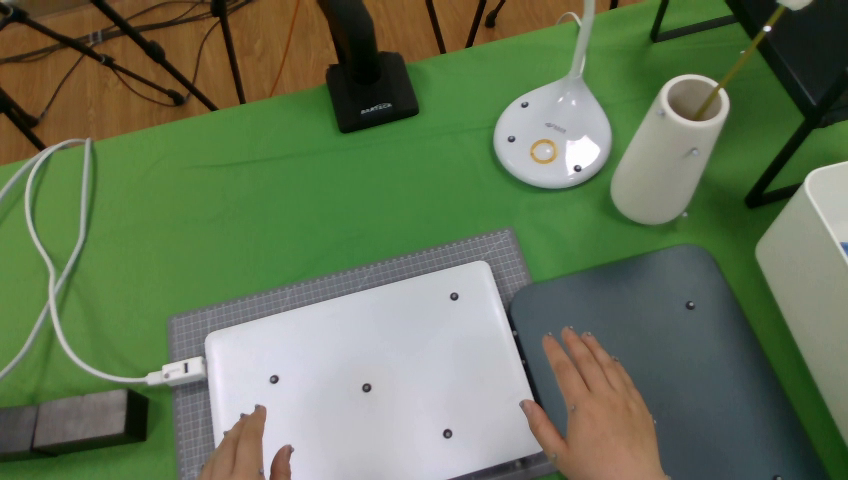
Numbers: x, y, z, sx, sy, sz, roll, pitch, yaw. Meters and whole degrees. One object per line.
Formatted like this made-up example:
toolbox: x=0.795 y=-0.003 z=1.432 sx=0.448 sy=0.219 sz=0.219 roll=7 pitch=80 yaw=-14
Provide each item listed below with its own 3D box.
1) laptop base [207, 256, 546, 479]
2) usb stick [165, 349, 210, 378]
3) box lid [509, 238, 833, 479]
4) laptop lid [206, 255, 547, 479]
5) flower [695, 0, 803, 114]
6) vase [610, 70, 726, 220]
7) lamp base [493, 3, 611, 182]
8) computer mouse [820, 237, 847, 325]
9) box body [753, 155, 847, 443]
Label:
laptop base: x=-0.063 y=0.164 z=0.698 sx=0.354 sy=0.023 sz=0.233 roll=-15 pitch=68 yaw=-4
usb stick: x=-0.268 y=0.143 z=0.707 sx=0.059 sy=0.027 sz=0.021 roll=-10 pitch=63 yaw=-8
box lid: x=0.268 y=0.180 z=0.674 sx=0.263 sy=0.015 sz=0.368 roll=-15 pitch=64 yaw=-5
laptop lid: x=-0.063 y=0.162 z=0.687 sx=0.357 sy=0.013 sz=0.239 roll=-13 pitch=66 yaw=-3
flower: x=0.295 y=-0.146 z=0.635 sx=0.038 sy=0.364 sz=0.043 roll=0 pitch=54 yaw=-15
vase: x=0.281 y=-0.105 z=0.708 sx=0.098 sy=0.201 sz=0.097 roll=-2 pitch=63 yaw=5
lamp base: x=0.174 y=-0.193 z=0.768 sx=0.160 sy=0.182 sz=0.178 roll=16 pitch=64 yaw=11
computer mouse: x=0.505 y=0.047 z=0.703 sx=0.062 sy=0.041 sz=0.116 roll=19 pitch=63 yaw=16
box body: x=0.545 y=0.090 z=0.617 sx=0.254 sy=0.161 sz=0.360 roll=-12 pitch=64 yaw=-2
